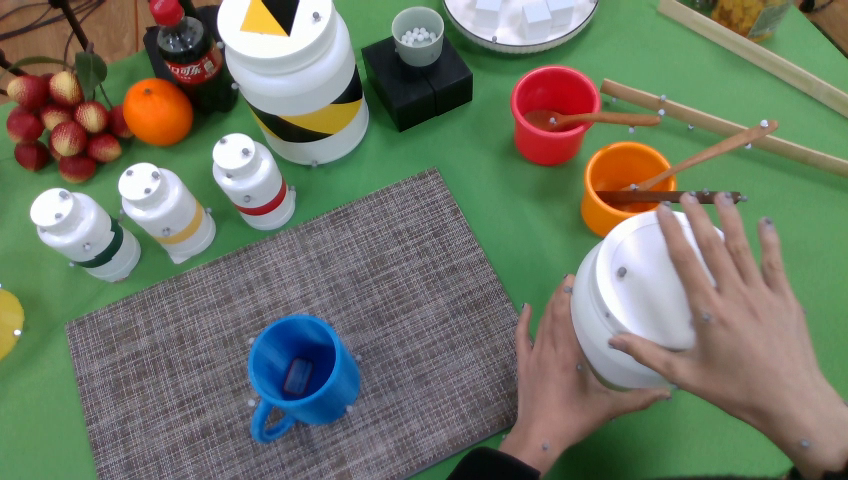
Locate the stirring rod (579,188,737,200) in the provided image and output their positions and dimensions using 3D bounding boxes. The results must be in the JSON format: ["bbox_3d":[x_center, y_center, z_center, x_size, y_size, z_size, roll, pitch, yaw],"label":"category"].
[{"bbox_3d":[0.230,-0.047,0.617,0.175,0.006,0.014,6,52,53],"label":"stirring rod"}]

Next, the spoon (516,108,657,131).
[{"bbox_3d":[0.169,-0.133,0.656,0.041,0.192,0.022,-42,115,-18],"label":"spoon"}]

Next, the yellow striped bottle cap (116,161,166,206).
[{"bbox_3d":[-0.282,-0.057,0.603,0.044,0.019,0.044,0,61,1],"label":"yellow striped bottle cap"}]

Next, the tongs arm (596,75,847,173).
[{"bbox_3d":[0.392,-0.133,0.702,0.383,0.027,0.050,24,66,13],"label":"tongs arm"}]

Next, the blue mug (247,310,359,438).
[{"bbox_3d":[-0.120,0.135,0.571,0.082,0.106,0.116,30,71,16],"label":"blue mug"}]

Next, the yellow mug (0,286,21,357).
[{"bbox_3d":[-0.492,0.097,0.634,0.100,0.064,0.129,-15,67,-4],"label":"yellow mug"}]

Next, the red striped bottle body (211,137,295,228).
[{"bbox_3d":[-0.187,-0.066,0.659,0.063,0.120,0.062,-2,66,5],"label":"red striped bottle body"}]

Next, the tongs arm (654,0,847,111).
[{"bbox_3d":[0.442,-0.202,0.732,0.385,0.028,0.028,40,67,18],"label":"tongs arm"}]

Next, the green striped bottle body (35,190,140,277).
[{"bbox_3d":[-0.360,-0.010,0.644,0.063,0.120,0.062,-1,66,3],"label":"green striped bottle body"}]

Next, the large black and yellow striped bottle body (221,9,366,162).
[{"bbox_3d":[-0.142,-0.187,0.675,0.131,0.185,0.129,-1,66,3],"label":"large black and yellow striped bottle body"}]

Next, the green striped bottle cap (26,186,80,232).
[{"bbox_3d":[-0.365,-0.031,0.597,0.044,0.020,0.044,0,65,1],"label":"green striped bottle cap"}]

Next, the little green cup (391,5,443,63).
[{"bbox_3d":[-0.008,-0.242,0.716,0.061,0.039,0.061,-1,63,2],"label":"little green cup"}]

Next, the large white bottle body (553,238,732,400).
[{"bbox_3d":[0.192,0.064,0.544,0.130,0.186,0.129,-1,65,3],"label":"large white bottle body"}]

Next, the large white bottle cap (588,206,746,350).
[{"bbox_3d":[0.185,0.027,0.465,0.115,0.018,0.114,-1,65,3],"label":"large white bottle cap"}]

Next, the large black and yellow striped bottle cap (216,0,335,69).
[{"bbox_3d":[-0.146,-0.221,0.596,0.115,0.019,0.114,-2,68,5],"label":"large black and yellow striped bottle cap"}]

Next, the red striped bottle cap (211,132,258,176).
[{"bbox_3d":[-0.191,-0.088,0.612,0.044,0.018,0.044,0,63,0],"label":"red striped bottle cap"}]

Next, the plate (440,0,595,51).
[{"bbox_3d":[0.122,-0.330,0.803,0.209,0.038,0.207,-1,67,3],"label":"plate"}]

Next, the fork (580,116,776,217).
[{"bbox_3d":[0.252,-0.073,0.621,0.207,0.019,0.028,-30,56,39],"label":"fork"}]

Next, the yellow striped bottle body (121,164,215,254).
[{"bbox_3d":[-0.277,-0.036,0.651,0.063,0.121,0.062,-2,65,4],"label":"yellow striped bottle body"}]
